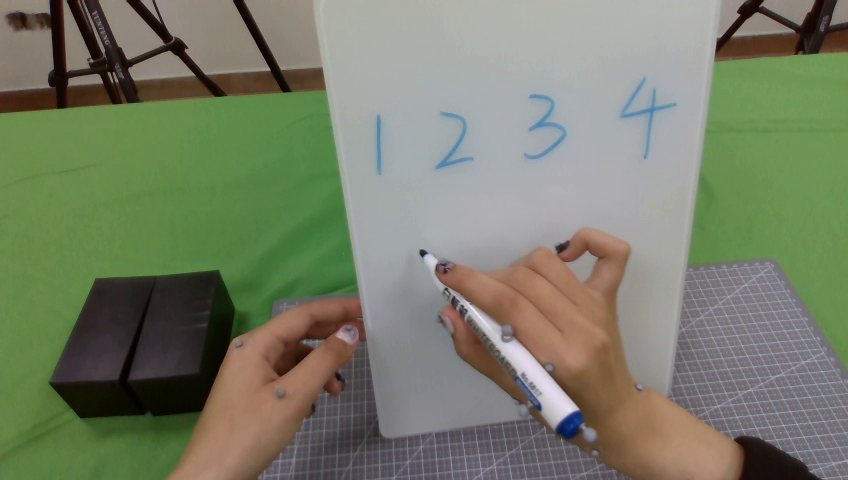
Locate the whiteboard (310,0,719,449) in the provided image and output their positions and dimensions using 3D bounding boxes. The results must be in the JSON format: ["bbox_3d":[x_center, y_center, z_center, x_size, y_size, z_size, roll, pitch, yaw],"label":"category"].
[{"bbox_3d":[0.056,-0.029,0.434,0.217,0.307,0.142,-6,26,-3],"label":"whiteboard"}]

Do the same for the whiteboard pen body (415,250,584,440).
[{"bbox_3d":[0.033,0.048,0.323,0.017,0.017,0.139,-25,50,-21],"label":"whiteboard pen body"}]
